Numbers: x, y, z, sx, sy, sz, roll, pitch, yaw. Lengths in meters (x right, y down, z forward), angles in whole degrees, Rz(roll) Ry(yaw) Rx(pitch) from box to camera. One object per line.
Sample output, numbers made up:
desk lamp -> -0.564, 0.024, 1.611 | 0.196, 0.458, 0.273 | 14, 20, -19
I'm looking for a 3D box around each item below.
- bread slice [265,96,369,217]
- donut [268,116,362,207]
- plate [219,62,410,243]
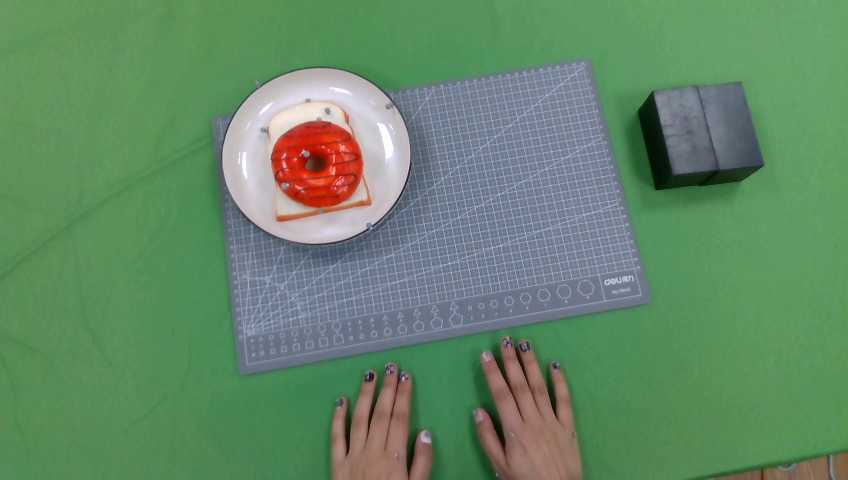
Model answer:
bread slice -> -0.126, -0.097, 0.676 | 0.105, 0.019, 0.131 | -12, 78, -4
donut -> -0.115, -0.083, 0.643 | 0.099, 0.048, 0.098 | 1, 80, -4
plate -> -0.118, -0.095, 0.674 | 0.209, 0.038, 0.208 | 0, 78, -1
